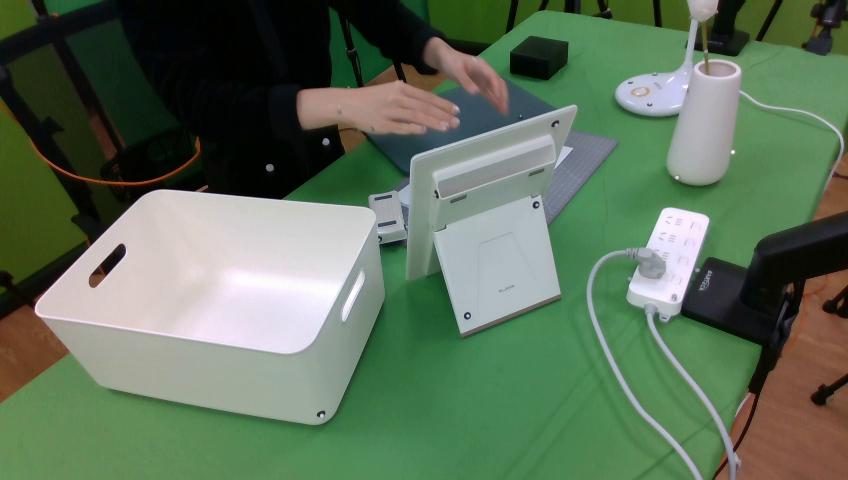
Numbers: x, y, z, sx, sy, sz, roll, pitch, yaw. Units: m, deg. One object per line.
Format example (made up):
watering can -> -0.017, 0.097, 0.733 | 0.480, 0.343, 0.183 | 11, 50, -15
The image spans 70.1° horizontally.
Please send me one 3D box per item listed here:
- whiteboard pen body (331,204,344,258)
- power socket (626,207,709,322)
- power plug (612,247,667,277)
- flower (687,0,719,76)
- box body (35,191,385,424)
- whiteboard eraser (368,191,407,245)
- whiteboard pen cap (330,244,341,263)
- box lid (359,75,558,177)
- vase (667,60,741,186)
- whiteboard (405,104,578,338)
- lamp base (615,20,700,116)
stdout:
whiteboard pen body -> -0.146, -0.016, 1.020 | 0.017, 0.017, 0.140 | -6, 40, 1
power socket -> 0.360, 0.026, 0.886 | 0.072, 0.033, 0.227 | 17, 46, 27
power plug -> 0.306, 0.031, 0.852 | 0.072, 0.053, 0.035 | 21, 48, 37
flower -> 0.436, -0.242, 0.934 | 0.038, 0.364, 0.043 | -25, 49, 8
box body -> -0.254, 0.081, 0.807 | 0.363, 0.161, 0.253 | 5, 42, 14
whiteboard eraser -> -0.061, -0.035, 1.005 | 0.056, 0.042, 0.112 | -9, 40, -4
whiteboard pen cap -> -0.142, 0.022, 0.975 | 0.018, 0.018, 0.033 | -7, 38, 0
box lid -> 0.074, -0.249, 1.267 | 0.373, 0.015, 0.261 | -23, 42, -18
vase -> 0.463, -0.189, 0.994 | 0.098, 0.201, 0.097 | -4, 40, 4
whiteboard -> 0.102, 0.003, 0.787 | 0.218, 0.306, 0.143 | -19, 62, -14
lamp base -> 0.484, -0.364, 1.211 | 0.180, 0.181, 0.159 | -15, 41, -14
